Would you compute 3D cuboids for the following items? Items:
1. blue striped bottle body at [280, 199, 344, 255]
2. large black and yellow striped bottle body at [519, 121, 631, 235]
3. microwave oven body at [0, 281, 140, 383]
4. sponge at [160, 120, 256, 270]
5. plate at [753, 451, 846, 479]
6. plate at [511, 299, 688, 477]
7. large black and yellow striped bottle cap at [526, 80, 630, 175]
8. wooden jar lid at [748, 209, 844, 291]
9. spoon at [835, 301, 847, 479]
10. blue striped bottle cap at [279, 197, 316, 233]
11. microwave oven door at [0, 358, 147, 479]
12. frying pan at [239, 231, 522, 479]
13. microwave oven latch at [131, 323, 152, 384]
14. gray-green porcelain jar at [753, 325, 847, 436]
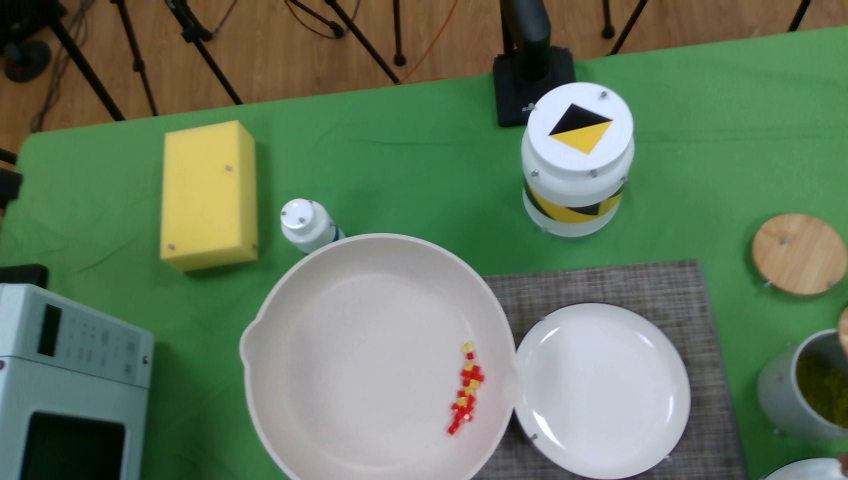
[{"bbox_3d":[-0.153,-0.013,0.820,0.063,0.122,0.062,-3,69,9],"label":"blue striped bottle body"},{"bbox_3d":[0.186,-0.097,0.760,0.130,0.185,0.130,-3,69,9],"label":"large black and yellow striped bottle body"},{"bbox_3d":[-0.548,0.299,0.691,0.326,0.262,0.438,-5,70,7],"label":"microwave oven body"},{"bbox_3d":[-0.320,-0.067,0.900,0.118,0.061,0.205,-10,69,5],"label":"sponge"},{"bbox_3d":[0.433,0.331,0.638,0.207,0.039,0.206,-3,69,9],"label":"plate"},{"bbox_3d":[0.205,0.175,0.730,0.209,0.038,0.207,-3,69,9],"label":"plate"},{"bbox_3d":[0.173,-0.128,0.683,0.115,0.019,0.114,-3,71,9],"label":"large black and yellow striped bottle cap"},{"bbox_3d":[0.463,0.014,0.760,0.108,0.021,0.107,-3,71,9],"label":"wooden jar lid"},{"bbox_3d":[0.413,0.149,0.578,0.041,0.022,0.193,1,66,40],"label":"spoon"},{"bbox_3d":[-0.162,-0.032,0.773,0.044,0.021,0.044,-3,71,8],"label":"blue striped bottle cap"},{"bbox_3d":[-0.403,0.323,0.652,0.039,0.246,0.353,-6,69,8],"label":"microwave oven door"},{"bbox_3d":[-0.059,0.232,0.631,0.308,0.103,0.484,12,66,-9],"label":"frying pan"},{"bbox_3d":[-0.391,0.155,0.823,0.030,0.030,0.078,-5,70,8],"label":"microwave oven latch"},{"bbox_3d":[0.426,0.156,0.655,0.106,0.127,0.105,-3,69,9],"label":"gray-green porcelain jar"}]
